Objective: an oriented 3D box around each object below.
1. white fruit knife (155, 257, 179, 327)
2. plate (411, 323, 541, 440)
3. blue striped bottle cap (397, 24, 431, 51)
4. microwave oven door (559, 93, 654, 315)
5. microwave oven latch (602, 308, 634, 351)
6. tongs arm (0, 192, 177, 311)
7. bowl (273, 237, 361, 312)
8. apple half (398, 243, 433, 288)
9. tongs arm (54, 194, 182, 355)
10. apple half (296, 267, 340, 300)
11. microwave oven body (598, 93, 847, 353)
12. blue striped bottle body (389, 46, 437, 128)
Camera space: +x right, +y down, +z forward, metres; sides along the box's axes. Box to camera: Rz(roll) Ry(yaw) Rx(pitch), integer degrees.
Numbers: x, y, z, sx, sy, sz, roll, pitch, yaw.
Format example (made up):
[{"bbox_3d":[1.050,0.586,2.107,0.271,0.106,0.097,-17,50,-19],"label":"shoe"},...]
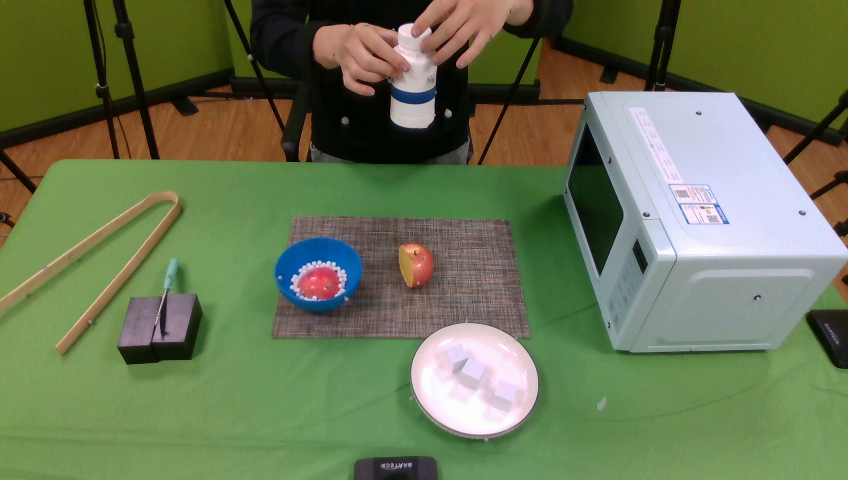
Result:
[{"bbox_3d":[-0.440,0.085,1.037,0.016,0.027,0.206,10,26,-19],"label":"white fruit knife"},{"bbox_3d":[0.082,0.228,0.976,0.208,0.039,0.206,2,45,-2],"label":"plate"},{"bbox_3d":[-0.013,-0.263,0.788,0.044,0.021,0.044,4,41,-3],"label":"blue striped bottle cap"},{"bbox_3d":[0.327,-0.074,1.123,0.039,0.245,0.353,-1,46,-5],"label":"microwave oven door"},{"bbox_3d":[0.332,0.153,1.044,0.030,0.029,0.078,-1,45,-4],"label":"microwave oven latch"},{"bbox_3d":[-0.618,0.020,1.124,0.050,0.026,0.384,24,47,16],"label":"tongs arm"},{"bbox_3d":[-0.186,0.074,1.069,0.151,0.077,0.150,3,46,-3],"label":"bowl"},{"bbox_3d":[-0.012,0.046,1.115,0.053,0.075,0.080,-11,44,-20],"label":"apple half"},{"bbox_3d":[-0.543,0.049,1.108,0.028,0.028,0.385,12,46,9],"label":"tongs arm"},{"bbox_3d":[-0.187,0.070,1.067,0.081,0.033,0.081,2,47,-2],"label":"apple half"},{"bbox_3d":[0.475,-0.041,1.109,0.326,0.261,0.438,-1,45,-4],"label":"microwave oven body"},{"bbox_3d":[-0.015,-0.220,0.823,0.063,0.121,0.062,2,40,-2],"label":"blue striped bottle body"}]
